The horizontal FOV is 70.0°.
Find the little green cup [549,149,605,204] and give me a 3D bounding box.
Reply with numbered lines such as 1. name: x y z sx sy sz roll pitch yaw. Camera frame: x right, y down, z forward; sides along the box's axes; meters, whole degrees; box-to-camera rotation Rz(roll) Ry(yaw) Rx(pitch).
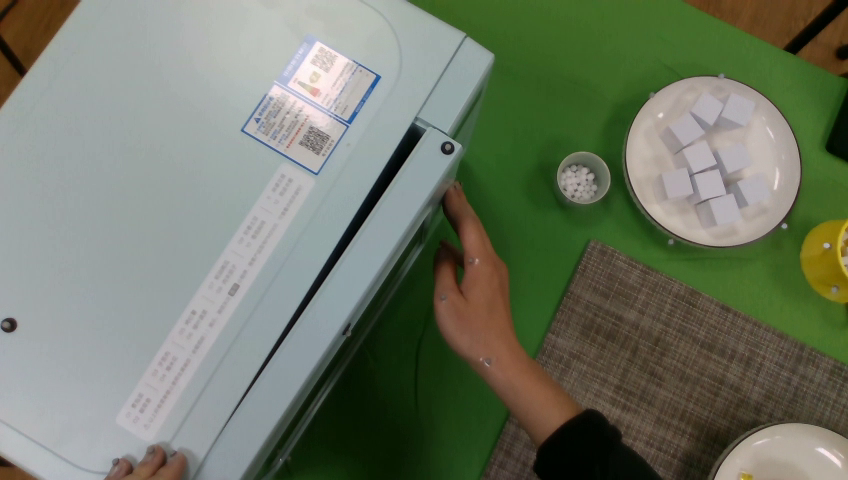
1. little green cup: 0.174 -0.070 0.701 0.061 0.039 0.061 0 82 -1

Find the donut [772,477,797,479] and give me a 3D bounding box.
1. donut: 0.389 0.302 0.639 0.099 0.048 0.099 0 83 0

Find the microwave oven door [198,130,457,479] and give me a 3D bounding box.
1. microwave oven door: -0.085 0.084 0.546 0.039 0.244 0.355 32 81 3

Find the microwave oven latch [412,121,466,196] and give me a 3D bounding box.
1. microwave oven latch: 0.017 -0.090 0.679 0.030 0.029 0.079 33 82 3

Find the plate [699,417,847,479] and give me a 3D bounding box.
1. plate: 0.390 0.295 0.652 0.209 0.038 0.208 0 82 -2

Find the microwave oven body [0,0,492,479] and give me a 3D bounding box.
1. microwave oven body: -0.197 -0.028 0.563 0.326 0.260 0.441 30 82 2

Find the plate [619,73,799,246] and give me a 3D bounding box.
1. plate: 0.329 -0.093 0.713 0.208 0.039 0.207 0 81 -2

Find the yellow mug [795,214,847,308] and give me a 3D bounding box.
1. yellow mug: 0.492 0.032 0.686 0.100 0.064 0.130 -10 82 -4
